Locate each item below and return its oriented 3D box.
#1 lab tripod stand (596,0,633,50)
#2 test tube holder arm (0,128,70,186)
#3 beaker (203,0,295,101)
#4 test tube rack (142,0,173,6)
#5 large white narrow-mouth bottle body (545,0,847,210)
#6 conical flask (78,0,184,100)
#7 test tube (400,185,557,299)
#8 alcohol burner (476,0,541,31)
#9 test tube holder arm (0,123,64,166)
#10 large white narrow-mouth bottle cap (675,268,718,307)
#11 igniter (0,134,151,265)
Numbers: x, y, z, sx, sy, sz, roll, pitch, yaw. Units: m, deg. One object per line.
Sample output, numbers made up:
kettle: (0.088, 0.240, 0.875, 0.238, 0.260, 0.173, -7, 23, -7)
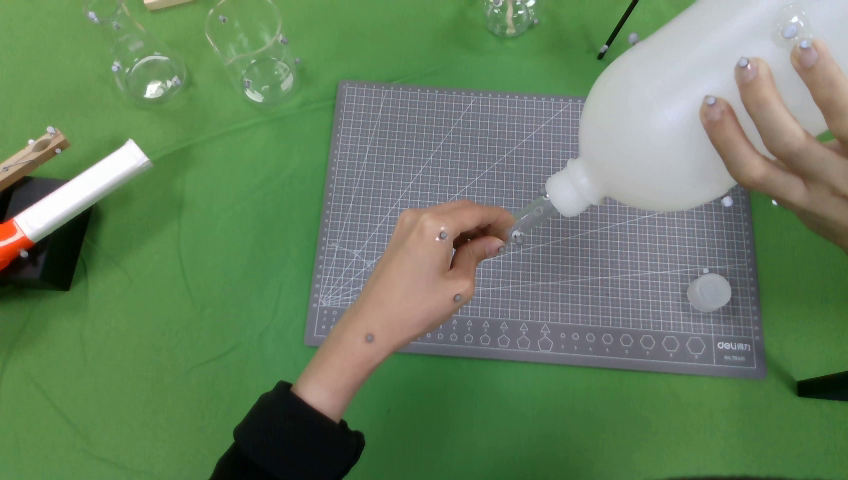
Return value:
lab tripod stand: (0.264, -0.272, 0.647, 0.148, 0.132, 0.147, 1, 71, -2)
test tube holder arm: (-0.385, -0.077, 0.584, 0.088, 0.015, 0.010, -38, 76, -13)
beaker: (-0.179, -0.197, 0.634, 0.074, 0.101, 0.083, 19, 73, 6)
test tube rack: (-0.218, -0.348, 0.688, 0.242, 0.085, 0.066, -16, 73, -6)
large white narrow-mouth bottle body: (0.153, -0.078, 0.340, 0.194, 0.102, 0.101, -36, 70, 31)
conical flask: (-0.304, -0.205, 0.622, 0.075, 0.122, 0.075, 0, 71, 0)
test tube: (0.037, 0.005, 0.433, 0.150, 0.017, 0.017, -36, 70, 31)
alcohol burner: (0.095, -0.286, 0.659, 0.078, 0.120, 0.077, 1, 70, -2)
test tube holder arm: (-0.423, -0.053, 0.575, 0.178, 0.015, 0.013, -39, 77, -13)
large white narrow-mouth bottle cap: (0.272, 0.048, 0.602, 0.038, 0.024, 0.037, 0, 73, 0)
igniter: (-0.381, -0.007, 0.559, 0.276, 0.025, 0.057, -40, 79, -15)
